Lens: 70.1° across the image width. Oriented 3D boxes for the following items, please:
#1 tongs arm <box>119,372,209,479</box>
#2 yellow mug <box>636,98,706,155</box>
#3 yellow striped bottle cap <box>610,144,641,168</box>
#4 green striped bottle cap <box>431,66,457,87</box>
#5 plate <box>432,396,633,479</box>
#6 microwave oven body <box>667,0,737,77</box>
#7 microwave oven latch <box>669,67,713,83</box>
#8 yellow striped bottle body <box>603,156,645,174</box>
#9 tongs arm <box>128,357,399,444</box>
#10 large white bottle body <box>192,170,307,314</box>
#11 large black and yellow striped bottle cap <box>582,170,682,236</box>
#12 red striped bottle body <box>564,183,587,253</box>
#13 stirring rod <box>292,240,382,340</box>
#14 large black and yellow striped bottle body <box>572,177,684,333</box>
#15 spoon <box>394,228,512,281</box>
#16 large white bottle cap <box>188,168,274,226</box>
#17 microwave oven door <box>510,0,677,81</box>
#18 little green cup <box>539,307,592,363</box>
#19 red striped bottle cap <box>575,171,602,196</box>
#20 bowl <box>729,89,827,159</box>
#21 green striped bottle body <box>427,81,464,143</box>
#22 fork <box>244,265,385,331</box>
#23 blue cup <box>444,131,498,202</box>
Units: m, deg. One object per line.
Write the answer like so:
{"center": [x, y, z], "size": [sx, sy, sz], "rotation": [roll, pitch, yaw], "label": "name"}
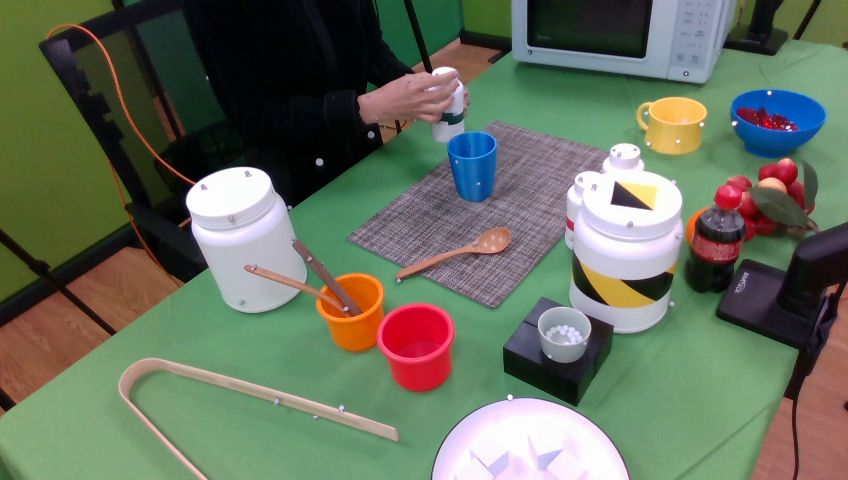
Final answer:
{"center": [-0.258, 0.257, 0.700], "size": [0.384, 0.028, 0.028], "rotation": [24, 55, 34], "label": "tongs arm"}
{"center": [0.453, -0.217, 1.128], "size": [0.100, 0.064, 0.129], "rotation": [-34, 46, -27], "label": "yellow mug"}
{"center": [0.307, -0.128, 0.923], "size": [0.044, 0.019, 0.044], "rotation": [-6, 39, 5], "label": "yellow striped bottle cap"}
{"center": [0.034, -0.276, 1.029], "size": [0.044, 0.020, 0.044], "rotation": [-1, 47, 2], "label": "green striped bottle cap"}
{"center": [0.112, 0.261, 0.634], "size": [0.209, 0.038, 0.208], "rotation": [-5, 40, 4], "label": "plate"}
{"center": [0.462, -0.552, 1.369], "size": [0.439, 0.261, 0.326], "rotation": [15, 45, 26], "label": "microwave oven body"}
{"center": [0.556, -0.348, 1.261], "size": [0.078, 0.029, 0.030], "rotation": [16, 46, 27], "label": "microwave oven latch"}
{"center": [0.313, -0.089, 0.955], "size": [0.063, 0.121, 0.062], "rotation": [-5, 39, 4], "label": "yellow striped bottle body"}
{"center": [-0.213, 0.205, 0.755], "size": [0.382, 0.026, 0.051], "rotation": [12, 46, 23], "label": "tongs arm"}
{"center": [-0.256, 0.003, 0.885], "size": [0.130, 0.185, 0.130], "rotation": [-5, 40, 4], "label": "large white bottle body"}
{"center": [0.252, -0.048, 0.735], "size": [0.115, 0.019, 0.114], "rotation": [-3, 40, 3], "label": "large black and yellow striped bottle cap"}
{"center": [0.246, -0.041, 0.910], "size": [0.063, 0.120, 0.062], "rotation": [-2, 39, 2], "label": "red striped bottle body"}
{"center": [-0.119, 0.068, 0.826], "size": [0.176, 0.006, 0.014], "rotation": [49, 58, -4], "label": "stirring rod"}
{"center": [0.262, 0.017, 0.788], "size": [0.131, 0.185, 0.130], "rotation": [-5, 40, 4], "label": "large black and yellow striped bottle body"}
{"center": [0.045, 0.024, 0.935], "size": [0.194, 0.022, 0.041], "rotation": [-18, 66, -11], "label": "spoon"}
{"center": [-0.264, -0.061, 0.831], "size": [0.115, 0.018, 0.114], "rotation": [-4, 40, 4], "label": "large white bottle cap"}
{"center": [0.354, -0.478, 1.290], "size": [0.353, 0.245, 0.039], "rotation": [15, 45, 25], "label": "microwave oven door"}
{"center": [0.168, 0.115, 0.721], "size": [0.061, 0.039, 0.061], "rotation": [-4, 42, 4], "label": "little green cup"}
{"center": [0.242, -0.081, 0.876], "size": [0.044, 0.018, 0.044], "rotation": [-5, 44, 5], "label": "red striped bottle cap"}
{"center": [0.615, -0.197, 1.069], "size": [0.151, 0.077, 0.150], "rotation": [-5, 40, 5], "label": "bowl"}
{"center": [0.038, -0.235, 1.062], "size": [0.063, 0.120, 0.063], "rotation": [-3, 42, 3], "label": "green striped bottle body"}
{"center": [-0.142, 0.078, 0.806], "size": [0.209, 0.018, 0.028], "rotation": [30, 32, -23], "label": "fork"}
{"center": [0.087, -0.122, 1.040], "size": [0.092, 0.100, 0.092], "rotation": [-5, 42, 5], "label": "blue cup"}
